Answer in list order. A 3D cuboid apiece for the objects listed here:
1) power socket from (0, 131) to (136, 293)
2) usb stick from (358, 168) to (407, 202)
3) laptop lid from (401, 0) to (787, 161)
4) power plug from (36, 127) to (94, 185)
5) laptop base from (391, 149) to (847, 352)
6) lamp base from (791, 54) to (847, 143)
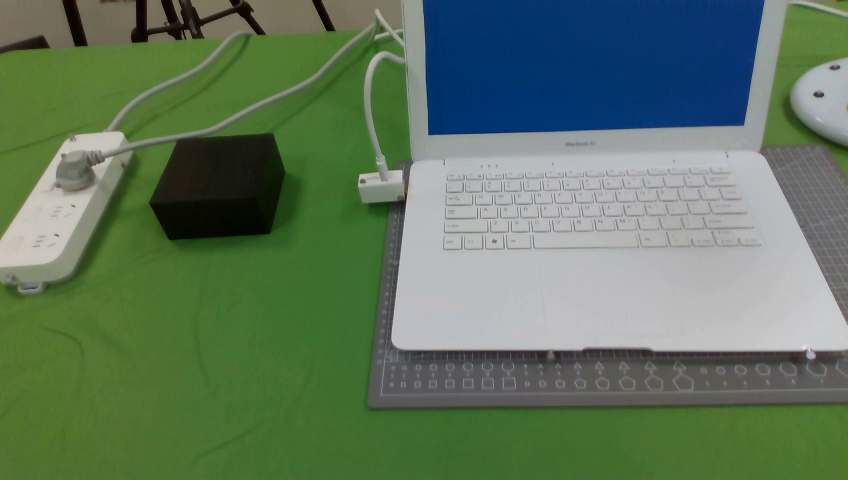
[{"bbox_3d":[-0.367,-0.041,0.631,0.072,0.033,0.224,-3,45,1],"label":"power socket"},{"bbox_3d":[-0.034,-0.055,0.604,0.059,0.027,0.021,-3,45,4],"label":"usb stick"},{"bbox_3d":[0.155,-0.188,0.575,0.356,0.243,0.013,-2,25,5],"label":"laptop lid"},{"bbox_3d":[-0.360,-0.090,0.607,0.053,0.073,0.035,10,29,-17],"label":"power plug"},{"bbox_3d":[0.155,0.003,0.545,0.354,0.023,0.233,-1,49,5],"label":"laptop base"},{"bbox_3d":[0.484,-0.209,0.604,0.159,0.182,0.179,25,51,27],"label":"lamp base"}]
